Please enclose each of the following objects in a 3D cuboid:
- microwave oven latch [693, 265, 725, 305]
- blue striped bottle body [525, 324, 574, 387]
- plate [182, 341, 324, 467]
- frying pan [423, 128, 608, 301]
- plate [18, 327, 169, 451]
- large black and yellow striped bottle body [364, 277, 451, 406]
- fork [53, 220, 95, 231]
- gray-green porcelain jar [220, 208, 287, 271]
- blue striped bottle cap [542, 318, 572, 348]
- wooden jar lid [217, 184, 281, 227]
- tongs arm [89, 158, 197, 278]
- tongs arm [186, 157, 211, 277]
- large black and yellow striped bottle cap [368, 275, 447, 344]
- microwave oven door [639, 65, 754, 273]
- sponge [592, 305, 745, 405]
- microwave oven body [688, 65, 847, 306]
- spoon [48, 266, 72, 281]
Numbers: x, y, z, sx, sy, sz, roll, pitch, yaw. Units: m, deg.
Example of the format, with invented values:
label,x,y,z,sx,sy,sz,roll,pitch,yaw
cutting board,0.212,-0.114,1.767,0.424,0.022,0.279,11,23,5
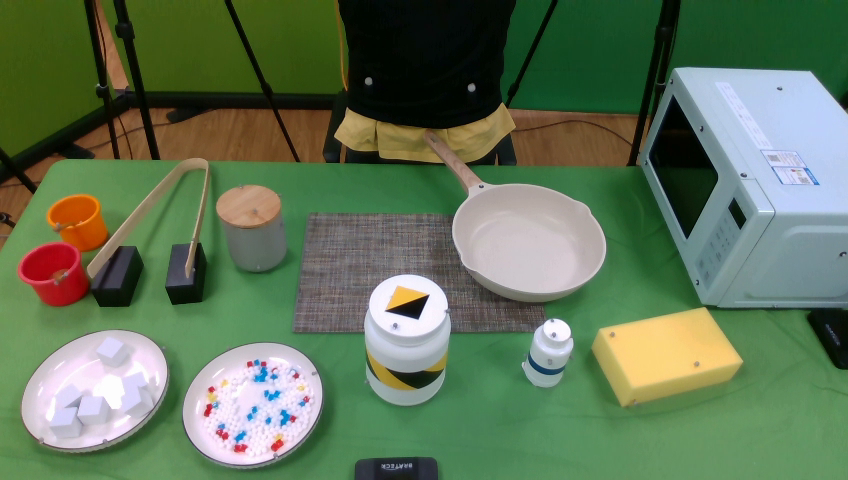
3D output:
label,x,y,z,sx,sy,sz,roll,pitch,yaw
microwave oven latch,0.523,0.081,1.116,0.030,0.029,0.078,2,46,-1
blue striped bottle body,0.202,0.179,0.970,0.063,0.121,0.062,2,46,-2
plate,-0.257,0.250,0.927,0.209,0.038,0.208,3,46,-2
frying pan,0.142,-0.069,1.208,0.307,0.103,0.485,-23,60,-25
plate,-0.498,0.229,0.929,0.208,0.039,0.206,2,47,-2
large black and yellow striped bottle body,-0.026,0.155,0.933,0.131,0.185,0.130,2,47,-2
fork,-0.627,-0.026,1.086,0.028,0.207,0.018,0,91,-15
gray-green porcelain jar,-0.310,-0.014,1.113,0.106,0.127,0.105,1,47,-1
blue striped bottle cap,0.205,0.143,0.933,0.044,0.021,0.044,0,47,0
wooden jar lid,-0.307,-0.057,1.067,0.108,0.021,0.107,5,44,-4
tongs arm,-0.530,-0.057,1.163,0.028,0.028,0.385,1,36,7
tongs arm,-0.445,-0.057,1.168,0.051,0.026,0.382,-5,37,-6
large black and yellow striped bottle cap,-0.024,0.098,0.871,0.115,0.019,0.114,2,45,-2
microwave oven door,0.522,-0.147,1.193,0.039,0.245,0.353,0,47,-3
sponge,0.405,0.190,1.014,0.207,0.061,0.117,-10,48,-13
microwave oven body,0.669,-0.111,1.176,0.326,0.261,0.439,0,46,-3
spoon,-0.609,0.057,1.010,0.041,0.022,0.193,-33,14,-27
